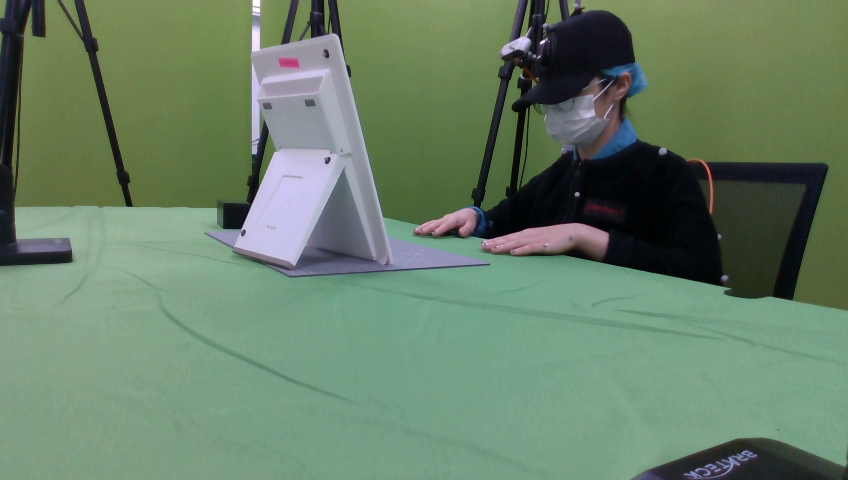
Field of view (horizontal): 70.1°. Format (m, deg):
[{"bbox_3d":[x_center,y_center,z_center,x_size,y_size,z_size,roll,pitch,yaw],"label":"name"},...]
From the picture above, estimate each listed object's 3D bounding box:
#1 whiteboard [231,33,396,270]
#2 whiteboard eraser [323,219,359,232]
[{"bbox_3d":[-0.193,-0.094,0.805,0.144,0.305,0.216,-29,25,-35],"label":"whiteboard"},{"bbox_3d":[-0.162,-0.030,1.195,0.041,0.019,0.101,5,9,21],"label":"whiteboard eraser"}]
